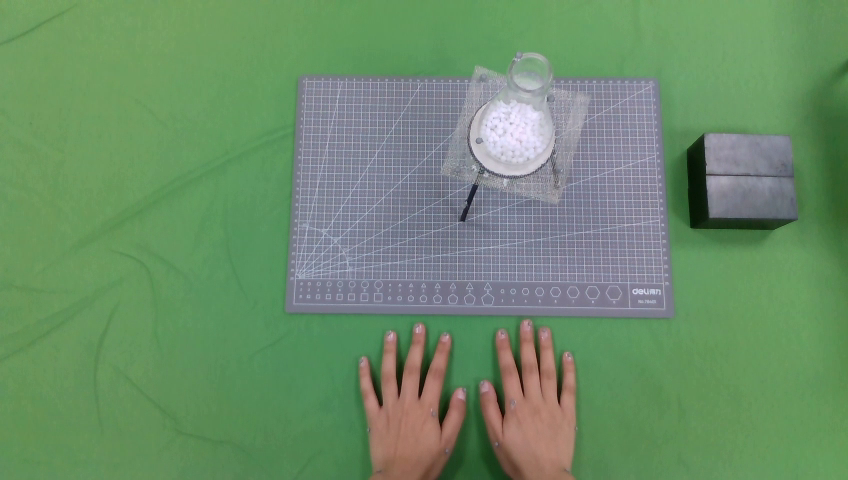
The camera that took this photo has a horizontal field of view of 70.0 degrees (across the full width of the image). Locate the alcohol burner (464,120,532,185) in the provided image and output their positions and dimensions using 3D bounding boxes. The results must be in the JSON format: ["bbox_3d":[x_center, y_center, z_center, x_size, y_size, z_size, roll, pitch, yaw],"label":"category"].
[{"bbox_3d":[0.084,-0.104,0.681,0.078,0.119,0.077,0,79,2],"label":"alcohol burner"}]

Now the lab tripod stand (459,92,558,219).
[{"bbox_3d":[0.085,-0.096,0.670,0.148,0.132,0.147,0,78,2],"label":"lab tripod stand"}]

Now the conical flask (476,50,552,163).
[{"bbox_3d":[0.087,-0.124,0.548,0.075,0.122,0.075,0,77,1],"label":"conical flask"}]

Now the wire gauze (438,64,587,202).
[{"bbox_3d":[0.090,-0.108,0.604,0.121,0.011,0.124,18,77,3],"label":"wire gauze"}]
